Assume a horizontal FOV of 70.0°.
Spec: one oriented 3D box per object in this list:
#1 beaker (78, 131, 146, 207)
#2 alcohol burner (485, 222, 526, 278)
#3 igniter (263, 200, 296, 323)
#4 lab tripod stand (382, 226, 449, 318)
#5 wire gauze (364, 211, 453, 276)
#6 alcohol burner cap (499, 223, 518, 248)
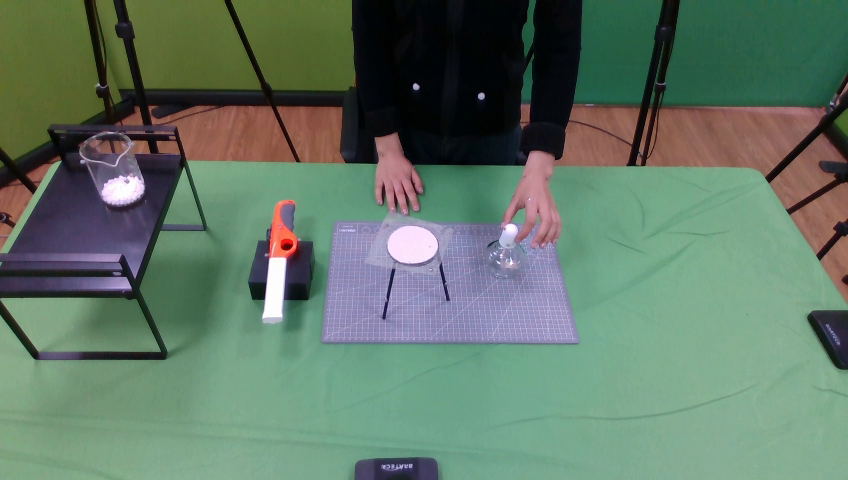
[{"bbox_3d":[-0.488,-0.108,0.961,0.074,0.101,0.083,-25,54,-25],"label":"beaker"},{"bbox_3d":[0.154,0.014,1.129,0.078,0.119,0.077,3,45,-3],"label":"alcohol burner"},{"bbox_3d":[-0.260,0.027,1.083,0.057,0.025,0.274,0,49,-7],"label":"igniter"},{"bbox_3d":[-0.024,0.055,1.063,0.148,0.132,0.147,2,48,-2],"label":"lab tripod stand"},{"bbox_3d":[-0.024,0.006,1.016,0.121,0.011,0.124,14,48,9],"label":"wire gauze"},{"bbox_3d":[0.156,-0.010,1.103,0.034,0.048,0.033,1,53,-1],"label":"alcohol burner cap"}]
